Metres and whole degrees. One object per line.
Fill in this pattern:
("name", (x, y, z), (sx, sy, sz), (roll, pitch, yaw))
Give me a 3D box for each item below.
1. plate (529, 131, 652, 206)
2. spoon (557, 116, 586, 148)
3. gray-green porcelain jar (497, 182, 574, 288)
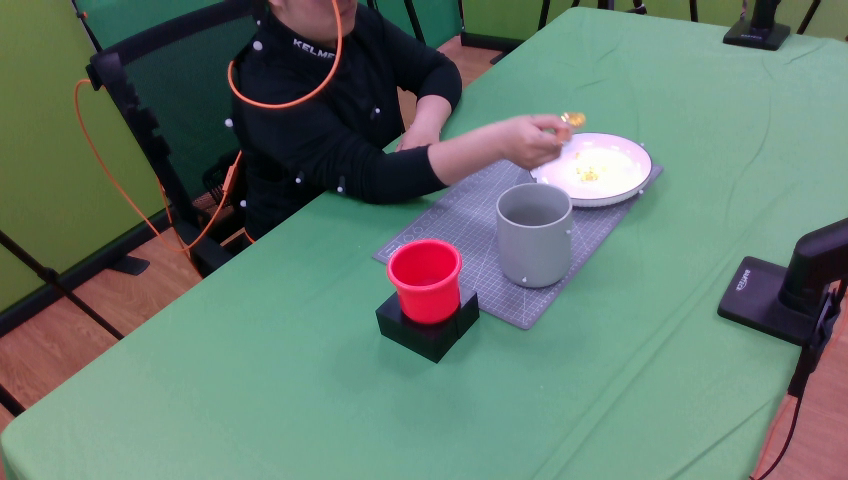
("plate", (0.287, -0.121, 1.056), (0.207, 0.039, 0.206), (-5, 40, 5))
("spoon", (0.218, -0.166, 0.917), (0.041, 0.021, 0.194), (5, 19, 19))
("gray-green porcelain jar", (0.161, -0.003, 0.869), (0.106, 0.127, 0.105), (-5, 40, 5))
